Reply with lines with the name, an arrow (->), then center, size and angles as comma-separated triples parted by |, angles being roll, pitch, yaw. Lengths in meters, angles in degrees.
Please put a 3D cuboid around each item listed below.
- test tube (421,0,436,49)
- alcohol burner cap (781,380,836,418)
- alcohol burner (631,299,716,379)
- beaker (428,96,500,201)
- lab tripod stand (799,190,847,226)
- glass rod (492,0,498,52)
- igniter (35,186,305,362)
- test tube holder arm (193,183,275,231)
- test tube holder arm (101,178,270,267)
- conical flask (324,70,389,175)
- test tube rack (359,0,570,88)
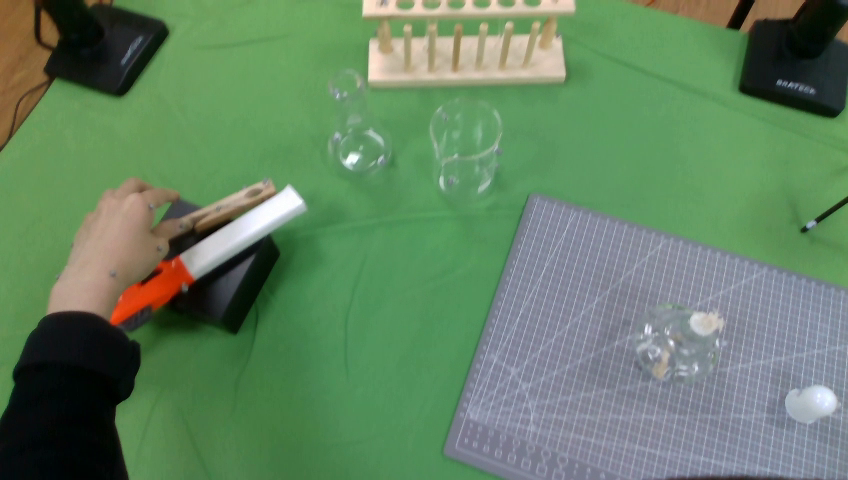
test tube -> 0.007, -0.278, 0.693 | 0.017, 0.151, 0.017 | 1, 59, -2
alcohol burner cap -> 0.365, 0.147, 0.570 | 0.034, 0.048, 0.033 | 0, 66, 0
alcohol burner -> 0.236, 0.086, 0.560 | 0.078, 0.120, 0.077 | 1, 65, -1
beaker -> 0.039, -0.092, 0.656 | 0.073, 0.101, 0.084 | 33, 70, 15
lab tripod stand -> 0.484, -0.058, 0.614 | 0.148, 0.132, 0.147 | 0, 65, -1
glass rod -> 0.080, -0.292, 0.680 | 0.008, 0.201, 0.008 | -2, 57, 4
igniter -> -0.242, 0.031, 0.591 | 0.276, 0.025, 0.056 | -34, 60, -15
test tube holder arm -> -0.196, -0.034, 0.624 | 0.088, 0.015, 0.010 | -26, 66, -11
test tube holder arm -> -0.238, -0.018, 0.617 | 0.178, 0.015, 0.013 | -27, 66, -11
conical flask -> -0.080, -0.132, 0.662 | 0.075, 0.123, 0.074 | 0, 65, 1
test tube rack -> 0.047, -0.240, 0.730 | 0.242, 0.086, 0.066 | -2, 65, 0
